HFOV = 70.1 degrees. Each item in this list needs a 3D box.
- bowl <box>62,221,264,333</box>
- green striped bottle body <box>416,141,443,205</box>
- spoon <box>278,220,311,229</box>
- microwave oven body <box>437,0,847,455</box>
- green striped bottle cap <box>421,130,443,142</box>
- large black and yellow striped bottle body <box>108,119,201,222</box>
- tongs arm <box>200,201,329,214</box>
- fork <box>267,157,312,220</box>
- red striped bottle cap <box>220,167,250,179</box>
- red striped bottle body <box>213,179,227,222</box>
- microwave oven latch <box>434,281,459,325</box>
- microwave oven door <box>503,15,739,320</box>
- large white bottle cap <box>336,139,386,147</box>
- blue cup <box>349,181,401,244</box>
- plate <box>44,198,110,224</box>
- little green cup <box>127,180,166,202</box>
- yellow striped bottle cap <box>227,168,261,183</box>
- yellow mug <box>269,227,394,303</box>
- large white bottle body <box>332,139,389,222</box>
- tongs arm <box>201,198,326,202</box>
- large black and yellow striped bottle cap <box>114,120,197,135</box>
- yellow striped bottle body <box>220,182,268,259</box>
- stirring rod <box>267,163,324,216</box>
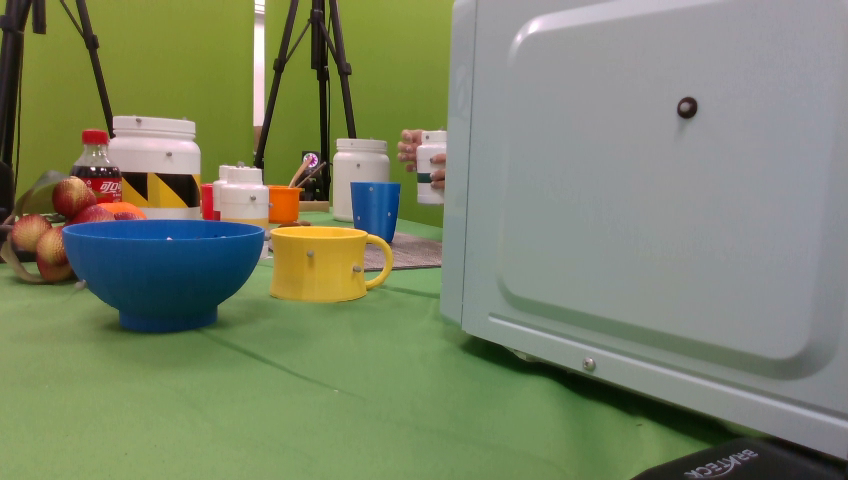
[{"bbox_3d":[-0.208,0.029,0.496,0.151,0.077,0.151,2,7,0],"label":"bowl"},{"bbox_3d":[0.018,-0.121,1.020,0.063,0.119,0.063,0,11,0],"label":"green striped bottle body"},{"bbox_3d":[-0.232,-0.027,1.116,0.041,0.021,0.193,-22,6,4],"label":"spoon"},{"bbox_3d":[0.279,-0.040,0.465,0.444,0.260,0.324,-3,9,-41],"label":"microwave oven body"},{"bbox_3d":[0.016,-0.172,1.010,0.044,0.020,0.044,-1,7,1],"label":"green striped bottle cap"},{"bbox_3d":[-0.412,-0.088,0.930,0.131,0.184,0.130,3,7,0],"label":"large black and yellow striped bottle body"},{"bbox_3d":[-0.378,-0.079,1.440,0.387,0.026,0.050,-4,7,-44],"label":"tongs arm"},{"bbox_3d":[-0.289,-0.116,1.321,0.028,0.019,0.207,6,51,19],"label":"fork"},{"bbox_3d":[-0.281,-0.100,0.901,0.044,0.017,0.044,-1,5,0],"label":"red striped bottle cap"},{"bbox_3d":[-0.284,-0.048,0.909,0.063,0.119,0.063,3,11,0],"label":"red striped bottle body"},{"bbox_3d":[0.044,0.045,0.470,0.079,0.029,0.030,-2,8,-39],"label":"microwave oven latch"},{"bbox_3d":[0.218,-0.065,0.600,0.358,0.243,0.039,-4,10,-41],"label":"microwave oven door"},{"bbox_3d":[-0.143,-0.219,1.375,0.115,0.018,0.115,2,8,0],"label":"large white bottle cap"},{"bbox_3d":[-0.082,-0.047,1.009,0.093,0.100,0.092,1,6,0],"label":"blue cup"},{"bbox_3d":[-0.617,-0.056,1.179,0.209,0.038,0.209,3,7,0],"label":"plate"},{"bbox_3d":[-0.486,-0.086,1.061,0.061,0.038,0.061,1,7,0],"label":"little green cup"},{"bbox_3d":[-0.243,-0.087,0.818,0.044,0.018,0.044,3,6,0],"label":"yellow striped bottle cap"},{"bbox_3d":[-0.094,0.023,0.629,0.131,0.064,0.099,0,7,-22],"label":"yellow mug"},{"bbox_3d":[-0.145,-0.136,1.387,0.131,0.184,0.130,2,7,0],"label":"large white bottle body"},{"bbox_3d":[-0.433,-0.089,1.508,0.390,0.028,0.028,-1,2,-29],"label":"tongs arm"},{"bbox_3d":[-0.407,-0.171,0.920,0.115,0.019,0.115,2,9,0],"label":"large black and yellow striped bottle cap"},{"bbox_3d":[-0.246,-0.036,0.825,0.063,0.120,0.063,3,8,0],"label":"yellow striped bottle body"},{"bbox_3d":[-0.278,-0.105,1.294,0.176,0.006,0.014,-47,26,-18],"label":"stirring rod"}]
